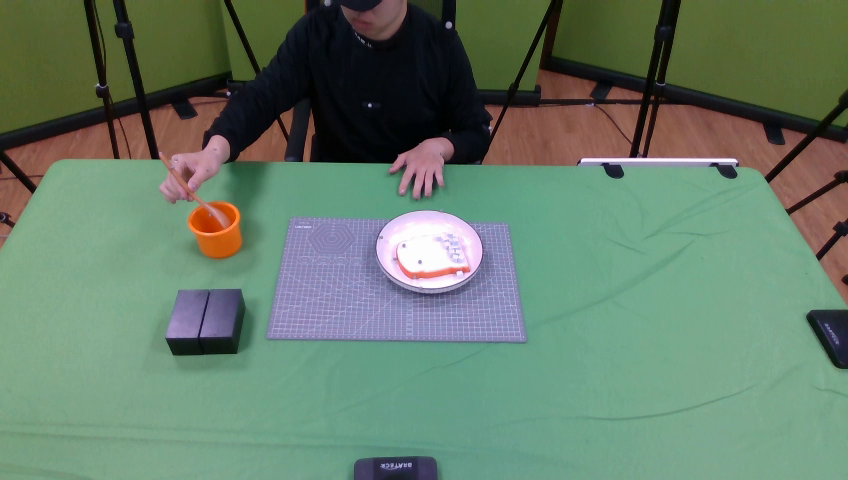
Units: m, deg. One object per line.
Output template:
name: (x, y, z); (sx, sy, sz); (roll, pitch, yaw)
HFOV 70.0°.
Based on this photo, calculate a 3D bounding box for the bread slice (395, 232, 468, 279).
bread slice: (0.011, 0.030, 1.158); (0.132, 0.019, 0.104); (-8, 47, -14)

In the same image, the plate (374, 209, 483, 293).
plate: (0.009, 0.024, 1.160); (0.209, 0.038, 0.208); (2, 46, -2)

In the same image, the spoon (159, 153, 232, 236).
spoon: (-0.409, -0.079, 1.090); (0.021, 0.195, 0.041); (-33, 33, 7)
